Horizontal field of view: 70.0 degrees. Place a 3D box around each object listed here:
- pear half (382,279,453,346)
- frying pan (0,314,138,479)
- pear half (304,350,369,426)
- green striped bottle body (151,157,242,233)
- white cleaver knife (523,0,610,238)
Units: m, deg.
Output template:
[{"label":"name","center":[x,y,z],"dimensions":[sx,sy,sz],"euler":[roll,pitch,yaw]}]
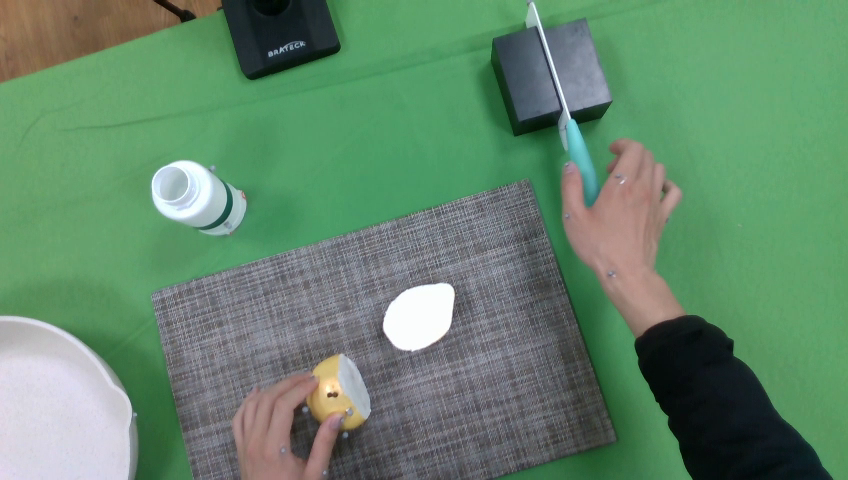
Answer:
[{"label":"pear half","center":[-0.003,0.080,0.657],"dimensions":[0.088,0.031,0.070],"euler":[-40,65,-15]},{"label":"frying pan","center":[-0.401,0.317,0.610],"dimensions":[0.307,0.103,0.484],"euler":[-22,73,0]},{"label":"pear half","center":[-0.096,0.154,0.613],"dimensions":[0.056,0.110,0.076],"euler":[-30,77,-1]},{"label":"green striped bottle body","center":[-0.244,-0.048,0.646],"dimensions":[0.063,0.119,0.063],"euler":[0,81,3]},{"label":"white cleaver knife","center":[0.154,-0.139,0.668],"dimensions":[0.021,0.066,0.285],"euler":[-15,79,7]}]
